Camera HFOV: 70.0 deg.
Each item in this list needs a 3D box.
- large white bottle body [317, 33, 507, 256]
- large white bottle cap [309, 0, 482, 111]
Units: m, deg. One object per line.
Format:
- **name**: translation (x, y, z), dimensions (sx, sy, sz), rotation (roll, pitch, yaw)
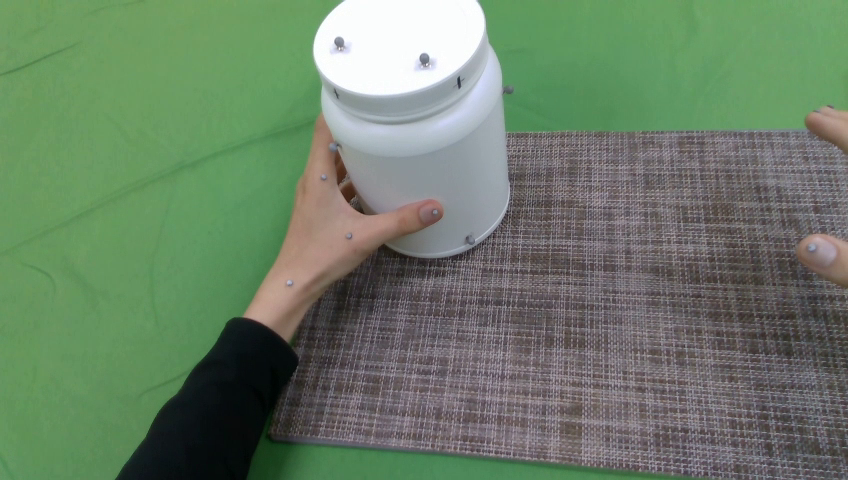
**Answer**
- **large white bottle body**: translation (-0.005, -0.085, 0.469), dimensions (0.130, 0.186, 0.129), rotation (-5, 57, 8)
- **large white bottle cap**: translation (-0.019, -0.131, 0.400), dimensions (0.115, 0.018, 0.114), rotation (-5, 57, 7)
